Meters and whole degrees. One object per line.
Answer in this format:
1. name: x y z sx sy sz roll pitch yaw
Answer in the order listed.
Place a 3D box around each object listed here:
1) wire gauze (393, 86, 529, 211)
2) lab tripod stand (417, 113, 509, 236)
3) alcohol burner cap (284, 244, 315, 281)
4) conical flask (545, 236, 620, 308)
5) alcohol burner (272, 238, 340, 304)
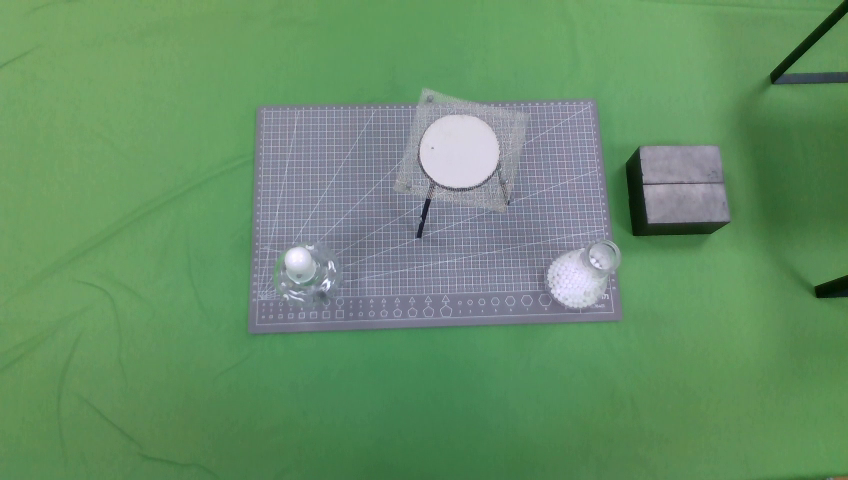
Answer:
1. wire gauze: 0.041 -0.098 0.644 0.121 0.011 0.124 15 74 3
2. lab tripod stand: 0.034 -0.081 0.709 0.148 0.132 0.147 0 74 1
3. alcohol burner cap: -0.135 0.022 0.648 0.034 0.048 0.033 2 70 -5
4. conical flask: 0.186 0.031 0.688 0.075 0.122 0.075 1 74 -1
5. alcohol burner: -0.136 0.032 0.683 0.078 0.119 0.077 0 76 -1
